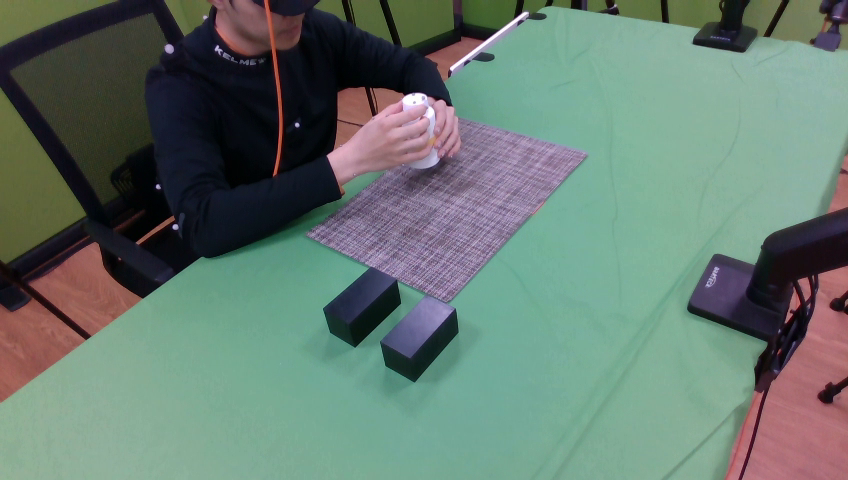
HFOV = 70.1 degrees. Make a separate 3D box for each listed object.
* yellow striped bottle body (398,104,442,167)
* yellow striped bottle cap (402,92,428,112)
[{"bbox_3d":[-0.008,-0.194,1.059,0.063,0.121,0.062,-7,40,6],"label":"yellow striped bottle body"},{"bbox_3d":[-0.016,-0.234,1.026,0.044,0.019,0.044,-2,39,2],"label":"yellow striped bottle cap"}]
